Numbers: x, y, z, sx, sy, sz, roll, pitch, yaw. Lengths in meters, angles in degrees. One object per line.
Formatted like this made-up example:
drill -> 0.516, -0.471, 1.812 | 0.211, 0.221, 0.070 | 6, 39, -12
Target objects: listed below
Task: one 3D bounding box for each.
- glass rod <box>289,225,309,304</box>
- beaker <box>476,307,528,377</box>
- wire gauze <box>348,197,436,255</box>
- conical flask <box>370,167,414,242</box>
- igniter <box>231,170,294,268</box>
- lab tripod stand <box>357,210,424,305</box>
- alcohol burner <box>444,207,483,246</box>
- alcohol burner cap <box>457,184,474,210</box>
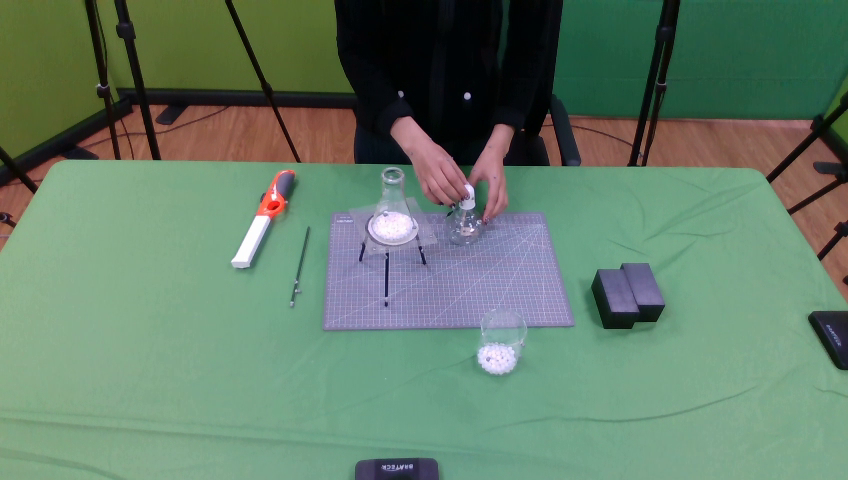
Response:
glass rod -> -0.235, 0.043, 1.149 | 0.008, 0.008, 0.198 | 3, 46, -1
beaker -> 0.122, 0.171, 0.991 | 0.084, 0.101, 0.073 | -34, 56, -30
wire gauze -> -0.056, -0.025, 1.046 | 0.125, 0.011, 0.120 | -13, 46, -15
conical flask -> -0.053, -0.062, 1.000 | 0.075, 0.122, 0.075 | 2, 44, -2
igniter -> -0.321, -0.051, 1.220 | 0.057, 0.025, 0.275 | 2, 45, 11
lab tripod stand -> -0.060, 0.020, 1.094 | 0.148, 0.132, 0.147 | 3, 44, -2
alcohol burner -> 0.079, -0.047, 1.184 | 0.078, 0.120, 0.077 | 1, 45, -1
alcohol burner cap -> 0.080, -0.083, 1.148 | 0.034, 0.048, 0.033 | -1, 43, 1
